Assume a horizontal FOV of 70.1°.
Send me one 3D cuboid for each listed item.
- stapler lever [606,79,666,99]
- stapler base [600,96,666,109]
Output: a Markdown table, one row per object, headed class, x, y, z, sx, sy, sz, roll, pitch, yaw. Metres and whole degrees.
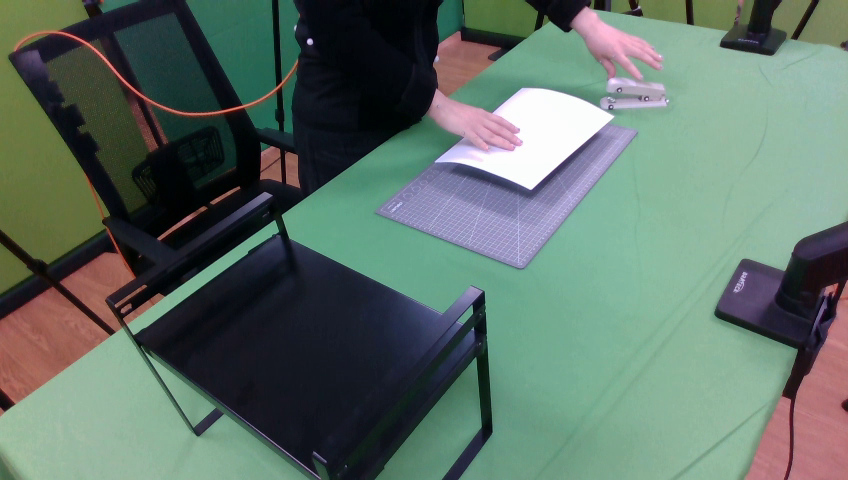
| class | x | y | z | sx | sy | sz | roll | pitch | yaw |
| --- | --- | --- | --- | --- | --- | --- | --- | --- | --- |
| stapler lever | 0.432 | -0.310 | 1.234 | 0.118 | 0.040 | 0.026 | -1 | 46 | 8 |
| stapler base | 0.433 | -0.292 | 1.250 | 0.130 | 0.024 | 0.041 | 0 | 46 | 7 |
